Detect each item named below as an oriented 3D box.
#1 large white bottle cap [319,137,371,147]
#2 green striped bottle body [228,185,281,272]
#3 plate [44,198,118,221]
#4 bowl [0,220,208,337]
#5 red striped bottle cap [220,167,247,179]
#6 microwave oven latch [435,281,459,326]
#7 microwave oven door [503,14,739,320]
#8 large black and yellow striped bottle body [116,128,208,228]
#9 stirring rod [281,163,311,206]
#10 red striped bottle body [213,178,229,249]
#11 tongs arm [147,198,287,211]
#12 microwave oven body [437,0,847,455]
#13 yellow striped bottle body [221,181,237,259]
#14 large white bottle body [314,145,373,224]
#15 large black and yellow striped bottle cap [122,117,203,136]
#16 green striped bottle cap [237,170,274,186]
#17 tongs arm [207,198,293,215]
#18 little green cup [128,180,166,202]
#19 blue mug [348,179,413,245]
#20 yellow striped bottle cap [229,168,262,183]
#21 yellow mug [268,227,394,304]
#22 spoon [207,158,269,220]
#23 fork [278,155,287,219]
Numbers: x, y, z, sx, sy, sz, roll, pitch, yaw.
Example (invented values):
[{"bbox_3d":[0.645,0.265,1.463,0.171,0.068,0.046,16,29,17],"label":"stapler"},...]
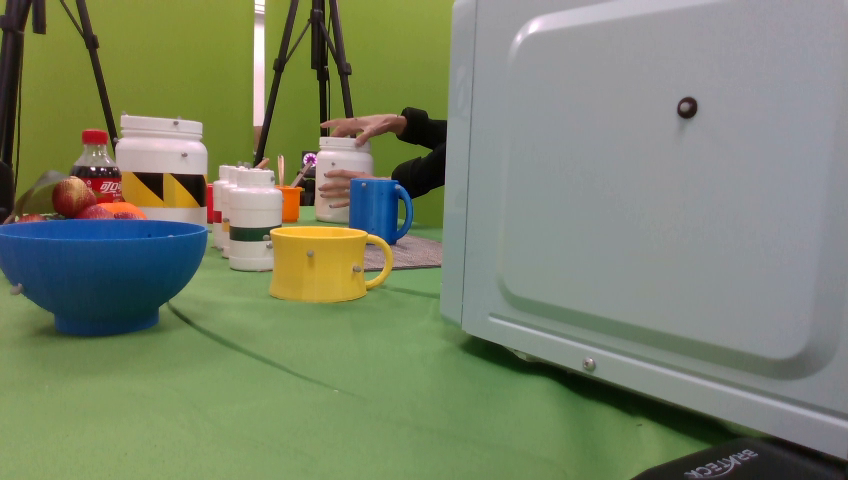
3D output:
[{"bbox_3d":[-0.176,-0.218,1.350,0.115,0.018,0.115,3,8,0],"label":"large white bottle cap"},{"bbox_3d":[-0.208,-0.024,0.745,0.063,0.119,0.063,2,7,0],"label":"green striped bottle body"},{"bbox_3d":[-0.617,-0.056,1.179,0.209,0.038,0.209,3,7,0],"label":"plate"},{"bbox_3d":[-0.251,0.029,0.479,0.151,0.077,0.151,2,7,0],"label":"bowl"},{"bbox_3d":[-0.281,-0.100,0.901,0.044,0.017,0.044,-1,4,0],"label":"red striped bottle cap"},{"bbox_3d":[0.044,0.046,0.470,0.079,0.029,0.030,-3,8,-40],"label":"microwave oven latch"},{"bbox_3d":[0.217,-0.065,0.601,0.358,0.243,0.039,-4,10,-41],"label":"microwave oven door"},{"bbox_3d":[-0.404,-0.089,0.937,0.131,0.184,0.130,3,7,0],"label":"large black and yellow striped bottle body"},{"bbox_3d":[-0.292,-0.111,1.324,0.014,0.006,0.176,2,47,29],"label":"stirring rod"},{"bbox_3d":[-0.284,-0.048,0.909,0.063,0.119,0.063,3,10,0],"label":"red striped bottle body"},{"bbox_3d":[-0.504,-0.091,1.513,0.028,0.028,0.389,-1,4,37],"label":"tongs arm"},{"bbox_3d":[0.279,-0.040,0.464,0.444,0.260,0.324,-3,8,-41],"label":"microwave oven body"},{"bbox_3d":[-0.244,-0.036,0.824,0.063,0.120,0.063,2,8,0],"label":"yellow striped bottle body"},{"bbox_3d":[-0.180,-0.135,1.362,0.131,0.184,0.130,3,8,0],"label":"large white bottle body"},{"bbox_3d":[-0.399,-0.174,0.927,0.115,0.019,0.115,5,9,-1],"label":"large black and yellow striped bottle cap"},{"bbox_3d":[-0.205,-0.075,0.737,0.044,0.020,0.044,1,5,0],"label":"green striped bottle cap"},{"bbox_3d":[-0.423,-0.084,1.472,0.050,0.026,0.386,2,6,21],"label":"tongs arm"},{"bbox_3d":[-0.485,-0.087,1.062,0.061,0.038,0.061,-1,6,0],"label":"little green cup"},{"bbox_3d":[-0.071,-0.047,1.002,0.116,0.106,0.082,6,9,26],"label":"blue mug"},{"bbox_3d":[-0.240,-0.087,0.816,0.044,0.018,0.044,-2,5,1],"label":"yellow striped bottle cap"},{"bbox_3d":[-0.094,0.023,0.630,0.131,0.064,0.099,0,7,-22],"label":"yellow mug"},{"bbox_3d":[-0.380,-0.108,1.251,0.041,0.022,0.194,5,51,38],"label":"spoon"},{"bbox_3d":[-0.318,-0.120,1.342,0.028,0.018,0.206,-1,52,-12],"label":"fork"}]
